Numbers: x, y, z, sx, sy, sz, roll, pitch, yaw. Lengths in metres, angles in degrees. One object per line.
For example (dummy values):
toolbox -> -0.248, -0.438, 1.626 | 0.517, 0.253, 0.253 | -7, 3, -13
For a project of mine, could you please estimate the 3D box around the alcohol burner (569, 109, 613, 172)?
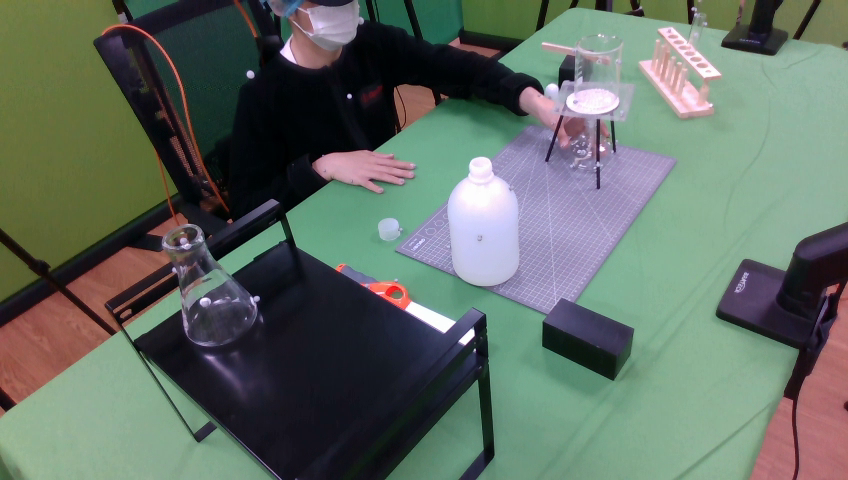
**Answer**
alcohol burner -> 0.297, -0.181, 1.073 | 0.078, 0.119, 0.077 | -5, 43, 5

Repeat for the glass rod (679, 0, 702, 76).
glass rod -> 0.543, -0.417, 1.233 | 0.008, 0.200, 0.008 | 1, 39, 0

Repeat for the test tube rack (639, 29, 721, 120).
test tube rack -> 0.527, -0.351, 1.262 | 0.067, 0.085, 0.241 | -8, 40, 1

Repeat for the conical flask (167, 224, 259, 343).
conical flask -> -0.220, 0.041, 0.613 | 0.075, 0.122, 0.075 | -5, 40, 4

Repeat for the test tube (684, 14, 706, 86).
test tube -> 0.540, -0.378, 1.215 | 0.017, 0.151, 0.017 | -2, 44, 3

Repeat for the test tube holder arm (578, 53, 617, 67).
test tube holder arm -> 0.376, -0.393, 1.314 | 0.087, 0.015, 0.010 | 26, 51, 32

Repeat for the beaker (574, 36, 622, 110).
beaker -> 0.285, -0.273, 0.990 | 0.073, 0.101, 0.084 | 15, 46, 27

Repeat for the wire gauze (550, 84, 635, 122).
wire gauze -> 0.285, -0.234, 1.021 | 0.124, 0.011, 0.121 | 8, 41, 24

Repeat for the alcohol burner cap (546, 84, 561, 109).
alcohol burner cap -> 0.275, -0.308, 1.285 | 0.034, 0.048, 0.033 | -6, 41, 5

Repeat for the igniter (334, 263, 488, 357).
igniter -> -0.030, 0.095, 0.872 | 0.274, 0.025, 0.057 | 23, 59, 31

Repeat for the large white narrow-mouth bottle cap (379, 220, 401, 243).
large white narrow-mouth bottle cap -> -0.057, -0.015, 1.011 | 0.038, 0.024, 0.037 | -4, 40, 4

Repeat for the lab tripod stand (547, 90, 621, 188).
lab tripod stand -> 0.289, -0.184, 1.062 | 0.148, 0.132, 0.147 | -6, 41, 6

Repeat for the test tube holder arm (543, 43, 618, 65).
test tube holder arm -> 0.345, -0.413, 1.340 | 0.177, 0.015, 0.013 | 25, 50, 31

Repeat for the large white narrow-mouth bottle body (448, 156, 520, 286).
large white narrow-mouth bottle body -> 0.086, -0.032, 0.869 | 0.102, 0.195, 0.101 | -4, 40, 4
